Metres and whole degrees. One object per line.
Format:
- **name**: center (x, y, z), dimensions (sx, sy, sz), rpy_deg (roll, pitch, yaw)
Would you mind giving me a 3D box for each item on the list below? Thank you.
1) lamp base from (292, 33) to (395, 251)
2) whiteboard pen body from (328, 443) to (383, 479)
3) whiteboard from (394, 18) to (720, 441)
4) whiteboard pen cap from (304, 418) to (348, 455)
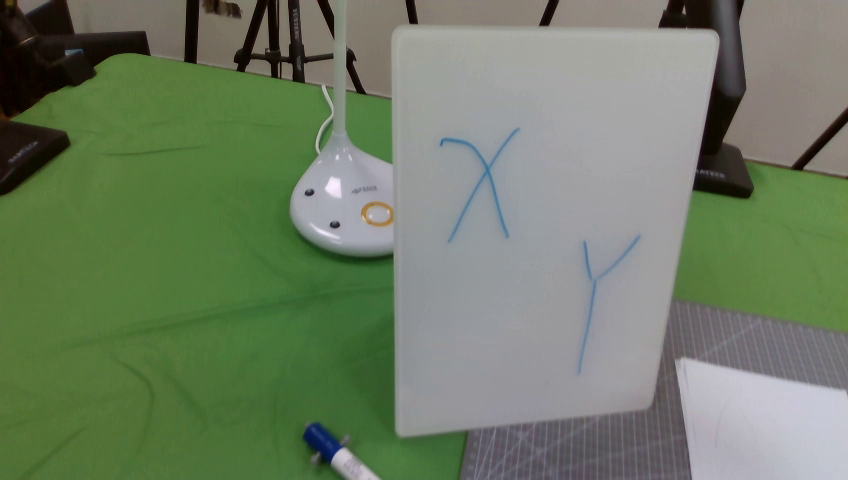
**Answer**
- **lamp base**: center (-0.066, -0.108, 0.630), dimensions (0.161, 0.182, 0.177), rpy_deg (-22, 46, -29)
- **whiteboard pen body**: center (-0.030, 0.177, 0.427), dimensions (0.139, 0.017, 0.017), rpy_deg (32, 47, 27)
- **whiteboard**: center (0.076, -0.018, 0.492), dimensions (0.218, 0.307, 0.142), rpy_deg (-3, 22, -9)
- **whiteboard pen cap**: center (-0.073, 0.149, 0.454), dimensions (0.033, 0.018, 0.018), rpy_deg (31, 46, 31)
